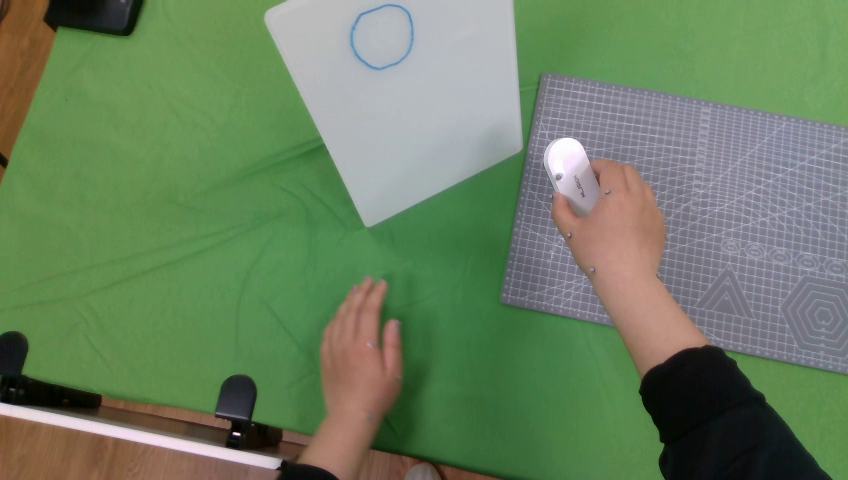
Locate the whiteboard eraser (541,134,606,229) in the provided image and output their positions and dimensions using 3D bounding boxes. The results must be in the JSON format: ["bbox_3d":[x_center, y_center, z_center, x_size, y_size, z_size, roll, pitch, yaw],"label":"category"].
[{"bbox_3d":[0.149,-0.057,0.601,0.041,0.018,0.102,-31,107,-10],"label":"whiteboard eraser"}]

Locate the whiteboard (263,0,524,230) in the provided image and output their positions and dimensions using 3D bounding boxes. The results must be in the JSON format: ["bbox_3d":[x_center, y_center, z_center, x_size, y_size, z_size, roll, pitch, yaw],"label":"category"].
[{"bbox_3d":[-0.030,-0.191,0.640,0.217,0.308,0.142,-27,57,-5],"label":"whiteboard"}]
